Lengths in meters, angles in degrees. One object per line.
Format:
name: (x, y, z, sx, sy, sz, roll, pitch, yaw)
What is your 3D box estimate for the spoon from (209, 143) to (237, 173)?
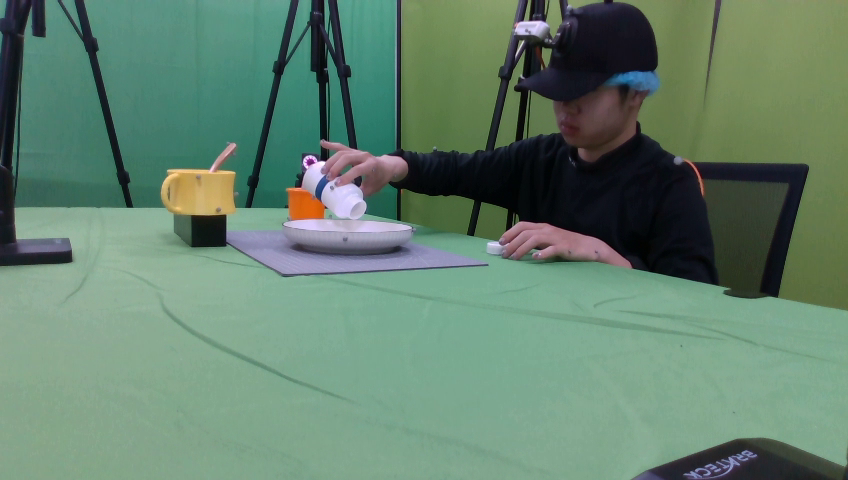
spoon: (-0.341, -0.113, 0.990, 0.041, 0.021, 0.193, 1, 39, 6)

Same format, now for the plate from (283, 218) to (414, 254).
plate: (-0.120, -0.007, 0.971, 0.208, 0.039, 0.207, 2, 7, 0)

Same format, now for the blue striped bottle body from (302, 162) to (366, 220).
blue striped bottle body: (-0.154, -0.083, 1.061, 0.120, 0.063, 0.063, 39, 26, 28)

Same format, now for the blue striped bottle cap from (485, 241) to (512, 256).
blue striped bottle cap: (0.123, 0.014, 1.000, 0.044, 0.020, 0.044, 6, 6, 0)

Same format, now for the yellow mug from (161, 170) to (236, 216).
yellow mug: (-0.354, -0.074, 0.935, 0.099, 0.064, 0.131, 5, 10, 21)
